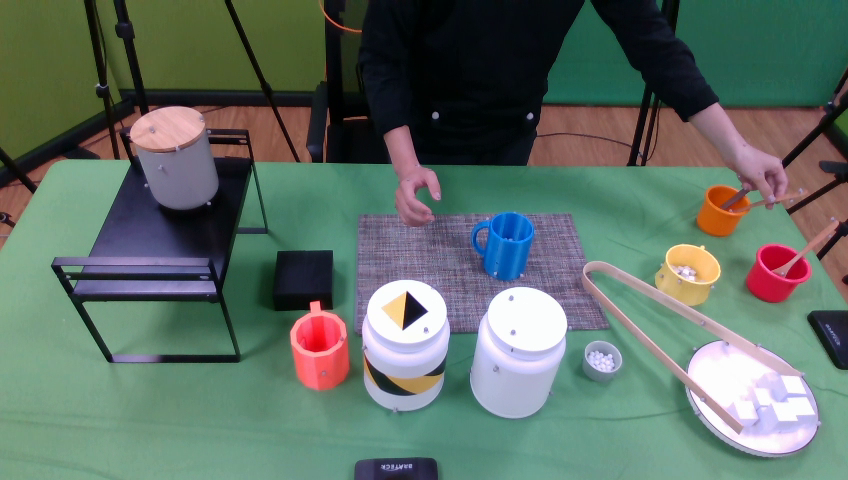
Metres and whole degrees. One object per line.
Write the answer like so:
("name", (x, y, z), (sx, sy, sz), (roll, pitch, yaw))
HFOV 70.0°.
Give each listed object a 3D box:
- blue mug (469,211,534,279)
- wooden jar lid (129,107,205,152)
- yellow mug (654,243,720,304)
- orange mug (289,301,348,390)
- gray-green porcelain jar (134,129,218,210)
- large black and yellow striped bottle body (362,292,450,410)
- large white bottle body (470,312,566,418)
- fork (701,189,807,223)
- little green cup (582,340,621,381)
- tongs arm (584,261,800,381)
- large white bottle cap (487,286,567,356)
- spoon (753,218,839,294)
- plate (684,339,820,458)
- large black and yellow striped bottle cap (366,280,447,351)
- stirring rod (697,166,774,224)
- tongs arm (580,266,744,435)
("blue mug", (0.141, 0.005, 1.140), (0.116, 0.106, 0.082), (18, 48, 13))
("wooden jar lid", (-0.385, -0.163, 0.914), (0.108, 0.021, 0.107), (2, 47, -2))
("yellow mug", (0.504, 0.054, 1.154), (0.099, 0.064, 0.130), (28, 49, 22))
("orange mug", (-0.170, 0.162, 0.976), (0.083, 0.101, 0.125), (-7, 52, -11))
("gray-green porcelain jar", (-0.388, -0.120, 0.960), (0.106, 0.127, 0.105), (2, 46, -2))
("large black and yellow striped bottle body", (-0.029, 0.163, 0.928), (0.131, 0.185, 0.130), (2, 47, -2))
("large white bottle body", (0.143, 0.173, 0.930), (0.131, 0.185, 0.130), (2, 46, -2))
("fork", (0.652, -0.067, 1.210), (0.019, 0.207, 0.028), (38, 55, -21))
("little green cup", (0.295, 0.204, 1.015), (0.061, 0.039, 0.061), (2, 45, -2))
("tongs arm", (0.452, 0.137, 1.064), (0.051, 0.027, 0.382), (-34, 50, -27))
("large white bottle cap", (0.147, 0.114, 0.869), (0.115, 0.018, 0.114), (3, 46, -3))
("spoon", (0.700, 0.031, 1.138), (0.194, 0.022, 0.041), (-47, 54, 14))
("plate", (0.523, 0.256, 0.982), (0.208, 0.039, 0.206), (2, 46, -2))
("large black and yellow striped bottle cap", (-0.025, 0.106, 0.865), (0.115, 0.019, 0.114), (2, 46, -1))
("stirring rod", (0.643, -0.091, 1.253), (0.176, 0.006, 0.014), (-41, 46, 17))
("tongs arm", (0.384, 0.173, 1.028), (0.028, 0.028, 0.385), (-25, 46, -15))
